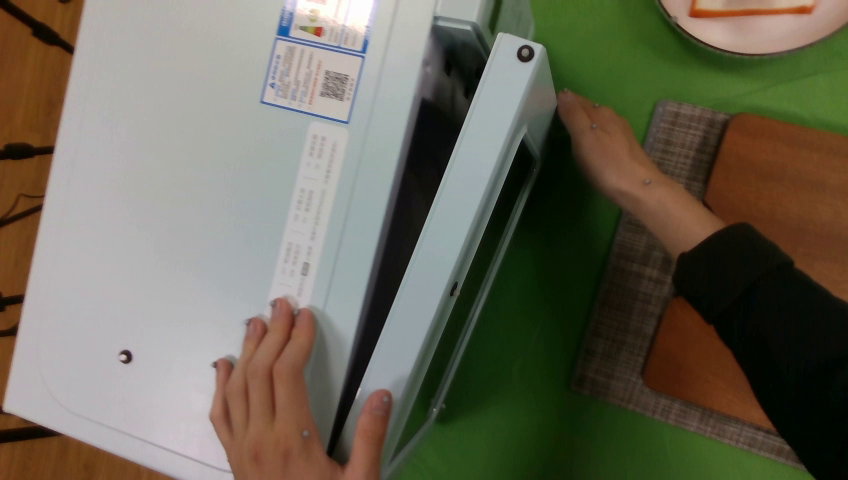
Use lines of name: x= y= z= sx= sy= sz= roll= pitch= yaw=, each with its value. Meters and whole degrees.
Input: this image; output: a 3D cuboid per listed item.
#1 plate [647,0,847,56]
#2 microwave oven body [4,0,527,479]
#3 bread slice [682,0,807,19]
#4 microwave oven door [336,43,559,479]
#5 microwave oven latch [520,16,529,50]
plate: x=0.301 y=-0.269 z=0.553 sx=0.207 sy=0.039 sz=0.207 roll=0 pitch=91 yaw=14
microwave oven body: x=-0.123 y=-0.042 z=0.546 sx=0.325 sy=0.261 sz=0.442 roll=14 pitch=95 yaw=13
bread slice: x=0.295 y=-0.272 z=0.555 sx=0.104 sy=0.019 sz=0.131 roll=1 pitch=92 yaw=13
microwave oven door: x=0.025 y=0.042 z=0.506 sx=0.039 sy=0.244 sz=0.356 roll=22 pitch=96 yaw=14
microwave oven latch: x=0.081 y=-0.178 z=0.591 sx=0.030 sy=0.029 sz=0.079 roll=15 pitch=95 yaw=13
